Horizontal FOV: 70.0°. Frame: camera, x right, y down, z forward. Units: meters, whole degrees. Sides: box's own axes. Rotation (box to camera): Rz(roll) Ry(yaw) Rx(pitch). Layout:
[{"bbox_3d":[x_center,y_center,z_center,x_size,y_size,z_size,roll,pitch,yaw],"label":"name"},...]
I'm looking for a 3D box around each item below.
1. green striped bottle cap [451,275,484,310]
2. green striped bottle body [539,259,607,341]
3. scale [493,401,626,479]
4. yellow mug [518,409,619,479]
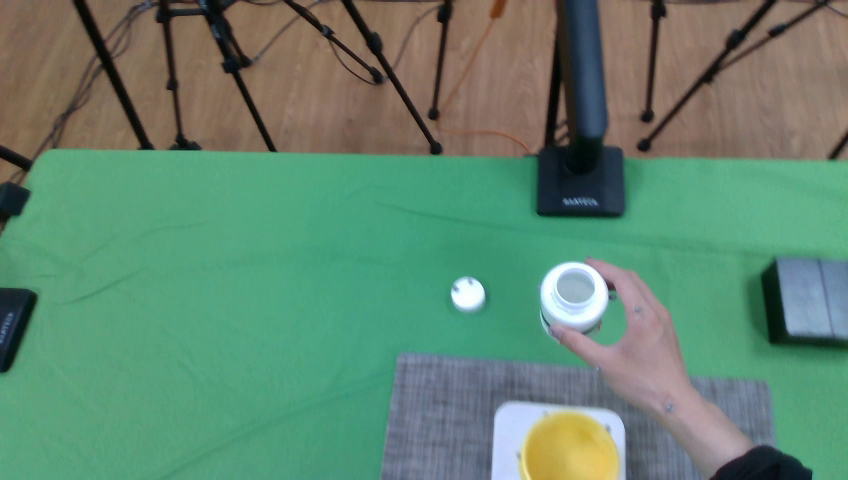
[{"bbox_3d":[0.058,0.070,0.804,0.044,0.020,0.044,-2,69,6],"label":"green striped bottle cap"},{"bbox_3d":[0.146,0.059,0.602,0.063,0.120,0.063,-3,69,9],"label":"green striped bottle body"},{"bbox_3d":[0.151,0.285,0.679,0.148,0.032,0.199,2,66,8],"label":"scale"},{"bbox_3d":[0.141,0.247,0.646,0.131,0.064,0.099,-43,69,-12],"label":"yellow mug"}]
